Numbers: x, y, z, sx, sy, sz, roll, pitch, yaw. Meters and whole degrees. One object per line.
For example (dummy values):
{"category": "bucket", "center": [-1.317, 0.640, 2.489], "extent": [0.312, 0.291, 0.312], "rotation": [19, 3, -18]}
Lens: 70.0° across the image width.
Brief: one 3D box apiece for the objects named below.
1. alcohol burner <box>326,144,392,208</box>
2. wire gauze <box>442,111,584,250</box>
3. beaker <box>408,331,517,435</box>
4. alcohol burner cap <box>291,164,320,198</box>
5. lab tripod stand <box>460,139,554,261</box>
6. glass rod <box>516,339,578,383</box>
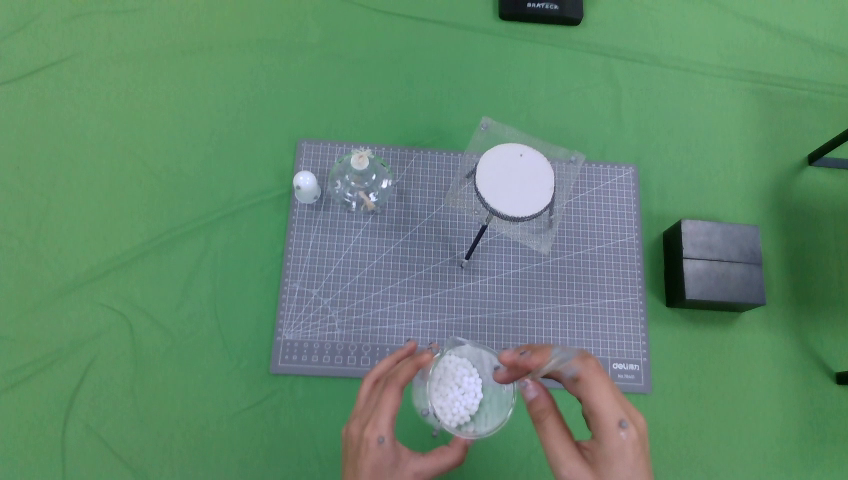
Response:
{"category": "alcohol burner", "center": [-0.076, -0.082, 0.711], "extent": [0.078, 0.119, 0.077], "rotation": [2, 73, -6]}
{"category": "wire gauze", "center": [0.096, -0.068, 0.643], "extent": [0.125, 0.011, 0.121], "rotation": [25, 73, 2]}
{"category": "beaker", "center": [0.027, 0.125, 0.527], "extent": [0.074, 0.100, 0.083], "rotation": [-17, 79, -15]}
{"category": "alcohol burner cap", "center": [-0.146, -0.074, 0.738], "extent": [0.034, 0.048, 0.033], "rotation": [1, 73, -4]}
{"category": "lab tripod stand", "center": [0.094, -0.050, 0.707], "extent": [0.148, 0.132, 0.147], "rotation": [2, 72, -6]}
{"category": "glass rod", "center": [0.073, 0.079, 0.379], "extent": [0.008, 0.201, 0.008], "rotation": [0, 73, 2]}
